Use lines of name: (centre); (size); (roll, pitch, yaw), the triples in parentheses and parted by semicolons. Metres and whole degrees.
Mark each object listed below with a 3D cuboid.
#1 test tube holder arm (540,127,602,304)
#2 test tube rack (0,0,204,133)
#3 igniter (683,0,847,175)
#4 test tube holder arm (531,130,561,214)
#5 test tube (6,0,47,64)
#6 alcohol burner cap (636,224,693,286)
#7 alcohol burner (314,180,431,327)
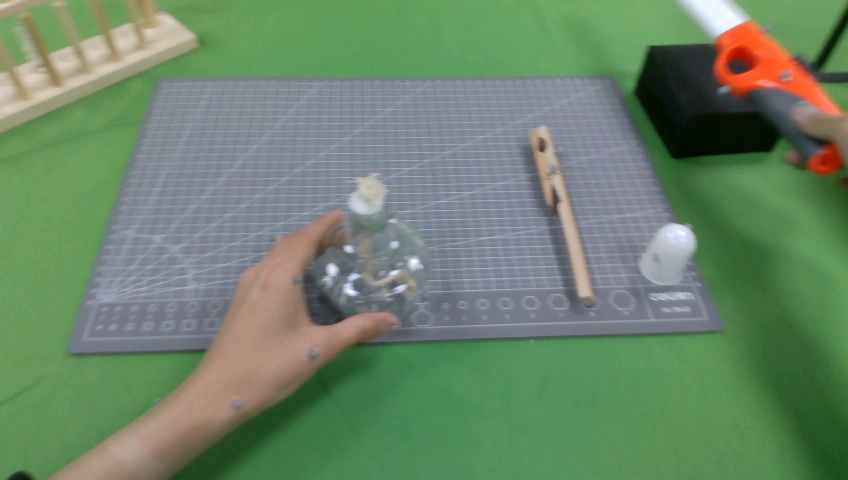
test tube holder arm: (0.115, -0.026, 0.487); (0.013, 0.015, 0.176); (-26, 48, 22)
test tube rack: (-0.333, -0.181, 0.548); (0.242, 0.086, 0.066); (-36, 61, -28)
igniter: (0.257, -0.161, 0.488); (0.057, 0.025, 0.273); (-27, 55, 15)
test tube holder arm: (0.106, -0.059, 0.516); (0.010, 0.015, 0.087); (-25, 48, 23)
test tube: (-0.351, -0.217, 0.513); (0.017, 0.151, 0.017); (3, 48, -3)
alcohol burner cap: (0.179, 0.009, 0.448); (0.034, 0.048, 0.033); (2, 50, -2)
alcohol burner: (-0.034, 0.004, 0.393); (0.078, 0.120, 0.077); (1, 52, -1)
